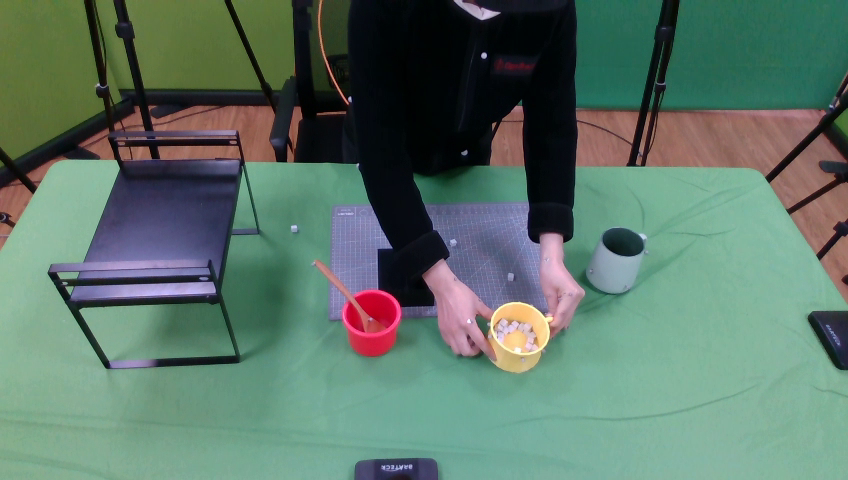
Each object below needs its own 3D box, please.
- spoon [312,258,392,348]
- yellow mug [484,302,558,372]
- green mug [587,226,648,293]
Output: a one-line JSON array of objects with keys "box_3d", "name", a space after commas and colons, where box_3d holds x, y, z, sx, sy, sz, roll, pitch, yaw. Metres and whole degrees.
[{"box_3d": [-0.119, 0.104, 1.004, 0.194, 0.021, 0.041, 54, 50, -14], "name": "spoon"}, {"box_3d": [0.169, 0.158, 1.020, 0.131, 0.064, 0.099, -17, 56, -19], "name": "yellow mug"}, {"box_3d": [0.372, 0.030, 1.136, 0.125, 0.105, 0.092, -27, 53, -26], "name": "green mug"}]
